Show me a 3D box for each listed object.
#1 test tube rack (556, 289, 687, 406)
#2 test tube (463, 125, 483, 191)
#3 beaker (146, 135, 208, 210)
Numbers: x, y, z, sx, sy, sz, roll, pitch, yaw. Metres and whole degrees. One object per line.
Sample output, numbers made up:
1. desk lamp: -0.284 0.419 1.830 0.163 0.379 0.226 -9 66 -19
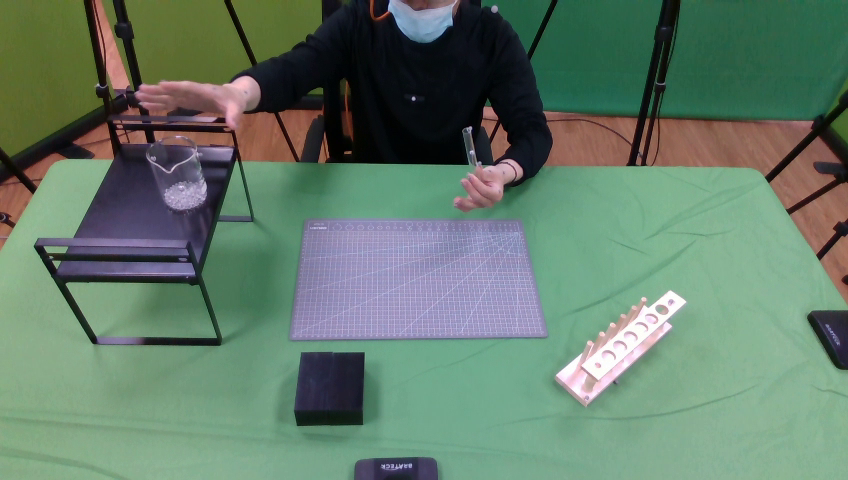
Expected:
1. test tube rack: 0.332 0.165 1.014 0.242 0.085 0.066 -30 55 -28
2. test tube: 0.088 -0.143 1.081 0.017 0.151 0.017 -8 48 9
3. beaker: -0.387 -0.102 0.961 0.074 0.101 0.083 -5 48 -8
